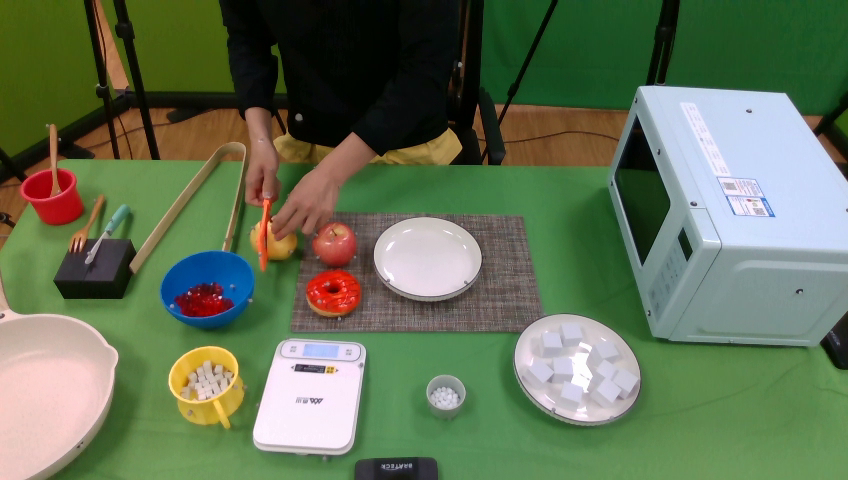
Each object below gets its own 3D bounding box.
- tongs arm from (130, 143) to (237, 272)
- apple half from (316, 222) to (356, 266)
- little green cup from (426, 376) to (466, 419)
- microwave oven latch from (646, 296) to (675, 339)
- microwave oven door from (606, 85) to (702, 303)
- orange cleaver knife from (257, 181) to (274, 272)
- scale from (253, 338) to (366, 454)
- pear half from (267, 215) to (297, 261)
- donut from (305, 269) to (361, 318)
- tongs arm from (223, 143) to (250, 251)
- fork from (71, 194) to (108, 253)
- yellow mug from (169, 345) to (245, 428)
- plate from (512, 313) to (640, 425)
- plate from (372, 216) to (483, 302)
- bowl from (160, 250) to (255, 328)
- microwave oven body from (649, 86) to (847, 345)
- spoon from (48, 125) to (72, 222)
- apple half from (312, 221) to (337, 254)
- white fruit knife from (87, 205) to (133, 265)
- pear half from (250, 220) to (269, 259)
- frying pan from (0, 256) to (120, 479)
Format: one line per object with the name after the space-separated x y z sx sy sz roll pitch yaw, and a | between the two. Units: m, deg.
-0.482 -0.080 1.234 0.028 0.028 0.385 7 45 12 | tongs arm
-0.156 0.015 1.132 0.053 0.075 0.080 28 48 18 | apple half
0.033 0.248 0.950 0.061 0.039 0.061 2 46 -2 | little green cup
0.412 0.134 1.061 0.030 0.029 0.078 4 45 1 | microwave oven latch
0.422 -0.094 1.140 0.039 0.245 0.353 2 46 -1 | microwave oven door
-0.296 -0.030 1.143 0.012 0.077 0.210 -1 42 -5 | orange cleaver knife
-0.175 0.236 0.951 0.149 0.032 0.199 4 45 0 | scale
-0.266 -0.010 1.129 0.056 0.110 0.076 -5 55 -9 | pear half
-0.160 0.094 1.075 0.099 0.048 0.098 3 46 -3 | donut
-0.397 -0.073 1.231 0.051 0.026 0.382 -1 45 -1 | tongs arm
-0.634 -0.036 1.158 0.028 0.019 0.206 -8 31 -8 | fork
-0.322 0.230 0.922 0.100 0.064 0.130 -24 53 -25 | yellow mug
0.246 0.213 0.999 0.208 0.039 0.206 2 46 -2 | plate
0.006 0.038 1.145 0.209 0.038 0.208 2 46 -2 | plate
-0.362 0.098 1.040 0.151 0.077 0.150 2 45 -2 | bowl
0.567 -0.053 1.118 0.326 0.261 0.439 2 45 -1 | microwave oven body
-0.718 -0.131 1.189 0.041 0.021 0.193 -3 90 -7 | spoon
-0.190 -0.001 1.143 0.032 0.081 0.081 27 50 19 | apple half
-0.584 -0.013 1.129 0.016 0.027 0.206 -1 32 -4 | white fruit knife
-0.309 -0.001 1.133 0.031 0.088 0.070 -14 57 -4 | pear half
-0.647 0.164 0.936 0.307 0.103 0.485 -19 58 -22 | frying pan
